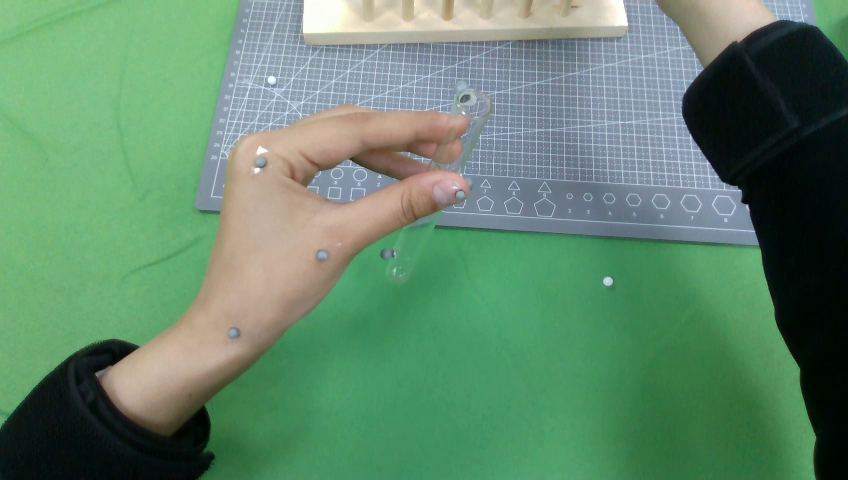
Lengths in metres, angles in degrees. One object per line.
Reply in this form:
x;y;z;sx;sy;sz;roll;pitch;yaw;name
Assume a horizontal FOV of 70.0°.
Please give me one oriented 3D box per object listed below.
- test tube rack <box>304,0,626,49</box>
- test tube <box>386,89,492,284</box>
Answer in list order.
0.031;-0.195;0.436;0.242;0.086;0.066;-2;67;-2;test tube rack
0.002;-0.016;0.297;0.017;0.151;0.017;7;58;-12;test tube
